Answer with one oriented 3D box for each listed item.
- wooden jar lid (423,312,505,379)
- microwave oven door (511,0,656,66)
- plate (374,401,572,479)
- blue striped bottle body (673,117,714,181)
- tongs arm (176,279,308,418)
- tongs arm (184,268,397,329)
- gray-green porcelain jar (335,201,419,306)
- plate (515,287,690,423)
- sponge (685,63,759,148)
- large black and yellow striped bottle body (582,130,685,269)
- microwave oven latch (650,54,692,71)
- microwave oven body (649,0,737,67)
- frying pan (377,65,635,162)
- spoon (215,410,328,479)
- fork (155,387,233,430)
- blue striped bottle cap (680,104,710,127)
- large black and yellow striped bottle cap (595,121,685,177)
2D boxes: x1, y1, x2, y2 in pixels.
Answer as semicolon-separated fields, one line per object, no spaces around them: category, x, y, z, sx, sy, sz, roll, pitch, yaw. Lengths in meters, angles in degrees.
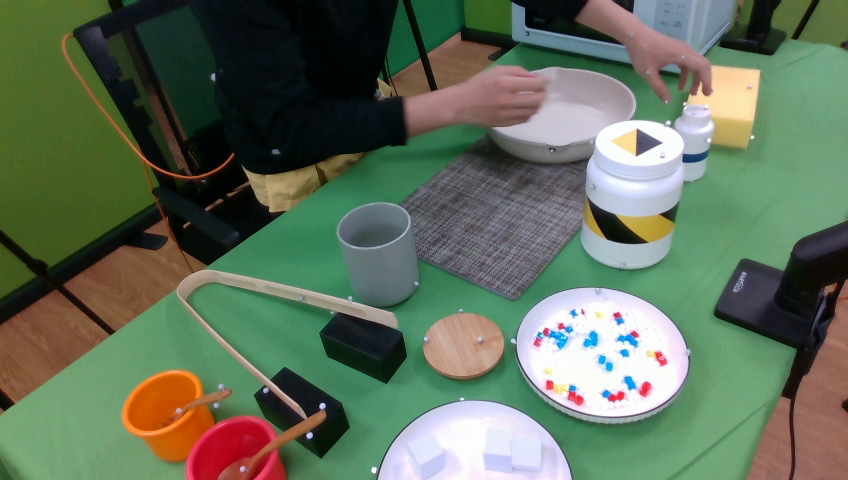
wooden jar lid;0.053;0.142;0.800;0.108;0.021;0.108;-4;39;4
microwave oven door;0.350;-0.539;1.348;0.353;0.245;0.039;24;50;31
plate;0.051;0.268;0.639;0.207;0.039;0.206;-3;40;3
blue striped bottle body;0.450;-0.165;1.022;0.063;0.121;0.063;-5;41;4
tongs arm;-0.255;0.132;0.801;0.028;0.028;0.384;-41;40;-23
tongs arm;-0.202;0.084;0.848;0.382;0.027;0.051;11;45;35
gray-green porcelain jar;-0.064;0.024;0.872;0.106;0.127;0.105;-4;41;4
plate;0.221;0.144;0.760;0.209;0.038;0.208;-4;40;4
sponge;0.569;-0.263;1.164;0.117;0.061;0.207;12;45;22
large black and yellow striped bottle body;0.301;-0.063;0.877;0.131;0.185;0.130;-4;41;4
microwave oven latch;0.530;-0.386;1.301;0.078;0.029;0.030;24;50;32
microwave oven body;0.475;-0.602;1.411;0.438;0.261;0.327;23;50;32
frying pan;0.150;-0.255;1.177;0.488;0.103;0.306;7;41;3
spoon;-0.165;0.224;0.639;0.193;0.022;0.041;-40;32;30
fork;-0.264;0.191;0.688;0.206;0.018;0.028;-33;8;44
blue striped bottle cap;0.443;-0.205;0.989;0.044;0.021;0.044;-1;41;2
large black and yellow striped bottle cap;0.292;-0.126;0.821;0.115;0.019;0.114;-5;40;4
